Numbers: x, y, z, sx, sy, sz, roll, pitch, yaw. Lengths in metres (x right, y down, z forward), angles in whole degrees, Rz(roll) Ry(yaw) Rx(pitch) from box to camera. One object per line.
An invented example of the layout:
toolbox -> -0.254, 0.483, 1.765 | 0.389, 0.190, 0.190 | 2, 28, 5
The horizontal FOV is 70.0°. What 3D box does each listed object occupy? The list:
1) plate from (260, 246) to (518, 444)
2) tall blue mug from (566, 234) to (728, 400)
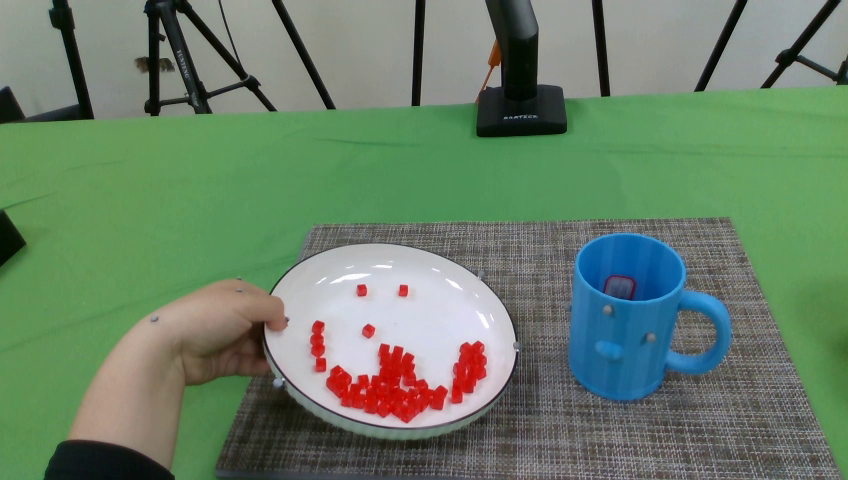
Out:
plate -> -0.028, 0.082, 0.498 | 0.208, 0.039, 0.205 | 9, 36, -6
tall blue mug -> 0.166, 0.060, 0.468 | 0.107, 0.109, 0.077 | -5, 39, 3
